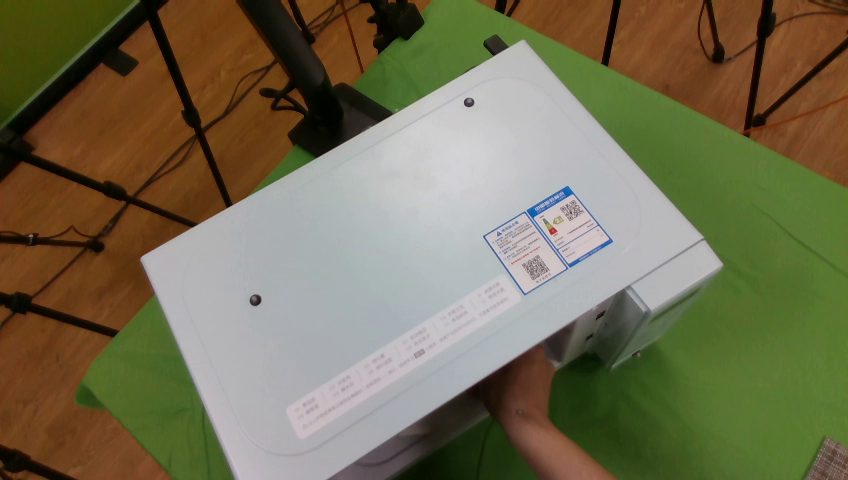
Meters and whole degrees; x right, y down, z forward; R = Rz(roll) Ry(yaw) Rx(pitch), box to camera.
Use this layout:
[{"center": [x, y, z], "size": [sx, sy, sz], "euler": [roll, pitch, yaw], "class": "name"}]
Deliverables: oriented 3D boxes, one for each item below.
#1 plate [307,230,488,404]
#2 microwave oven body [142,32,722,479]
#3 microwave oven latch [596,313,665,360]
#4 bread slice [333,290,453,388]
[{"center": [-0.030, 0.088, 0.706], "size": [0.208, 0.039, 0.206], "euler": [0, 65, 1], "class": "plate"}, {"center": [0.002, 0.049, 0.655], "size": [0.442, 0.262, 0.323], "euler": [-32, 67, -6], "class": "microwave oven body"}, {"center": [0.241, 0.108, 0.706], "size": [0.079, 0.030, 0.030], "euler": [-30, 67, -5], "class": "microwave oven latch"}, {"center": [-0.037, 0.112, 0.704], "size": [0.134, 0.018, 0.106], "euler": [7, 65, -1], "class": "bread slice"}]
